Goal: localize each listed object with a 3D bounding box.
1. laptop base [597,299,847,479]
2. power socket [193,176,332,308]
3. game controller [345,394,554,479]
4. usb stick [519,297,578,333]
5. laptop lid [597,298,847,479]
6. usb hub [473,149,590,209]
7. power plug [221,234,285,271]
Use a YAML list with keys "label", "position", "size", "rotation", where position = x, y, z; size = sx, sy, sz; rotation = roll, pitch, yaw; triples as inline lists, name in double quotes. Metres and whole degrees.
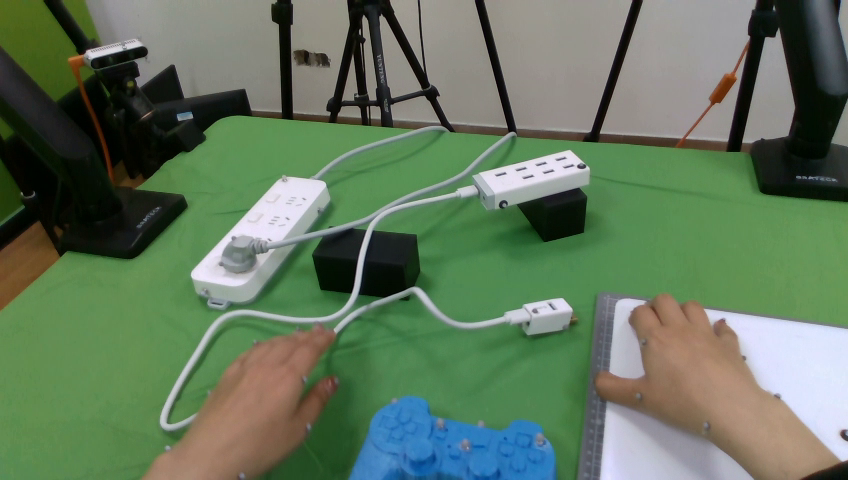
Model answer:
- label: "laptop base"
  position: [0.319, 0.157, 0.463]
  size: [0.353, 0.023, 0.234]
  rotation: [8, 43, 16]
- label: "power socket"
  position: [-0.184, -0.007, 0.717]
  size: [0.072, 0.033, 0.225]
  rotation: [10, 40, 17]
- label: "game controller"
  position: [0.023, 0.168, 0.459]
  size: [0.154, 0.052, 0.096]
  rotation: [9, 35, 16]
- label: "usb stick"
  position: [0.123, 0.072, 0.583]
  size: [0.059, 0.027, 0.021]
  rotation: [-3, 30, -22]
- label: "laptop lid"
  position: [0.317, 0.149, 0.454]
  size: [0.355, 0.013, 0.240]
  rotation: [8, 42, 17]
- label: "usb hub"
  position: [0.122, -0.069, 0.687]
  size: [0.125, 0.025, 0.049]
  rotation: [-16, 40, -11]
- label: "power plug"
  position: [-0.181, 0.023, 0.639]
  size: [0.072, 0.053, 0.035]
  rotation: [19, 43, 24]
